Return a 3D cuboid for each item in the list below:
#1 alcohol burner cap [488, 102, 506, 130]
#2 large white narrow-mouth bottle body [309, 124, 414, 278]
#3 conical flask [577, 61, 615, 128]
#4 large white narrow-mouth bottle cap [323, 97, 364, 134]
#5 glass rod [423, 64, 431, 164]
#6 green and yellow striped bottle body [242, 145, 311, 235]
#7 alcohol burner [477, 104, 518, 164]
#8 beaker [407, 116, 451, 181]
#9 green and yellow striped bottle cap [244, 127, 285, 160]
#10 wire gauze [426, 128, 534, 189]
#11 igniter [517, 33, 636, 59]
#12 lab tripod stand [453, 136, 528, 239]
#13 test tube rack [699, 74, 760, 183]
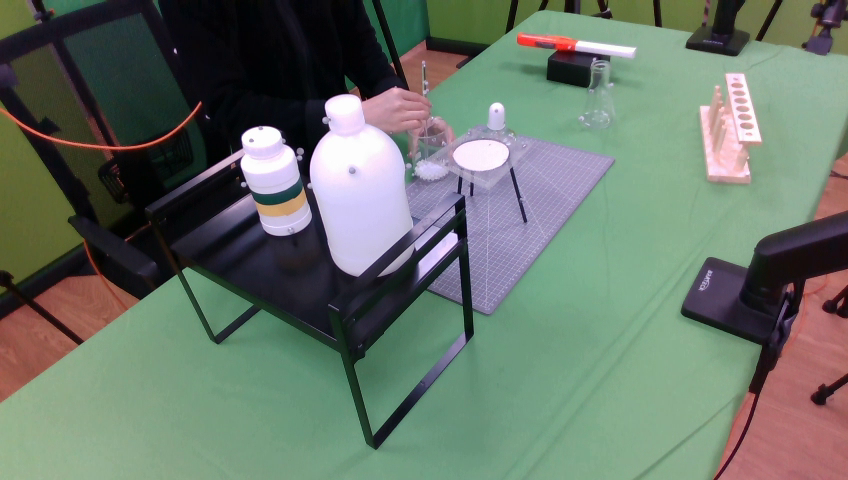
[{"bbox_3d":[0.133,-0.227,1.092,0.034,0.048,0.033,-1,47,2],"label":"alcohol burner cap"},{"bbox_3d":[-0.068,-0.057,0.644,0.102,0.195,0.101,-4,42,4],"label":"large white narrow-mouth bottle body"},{"bbox_3d":[0.343,-0.288,1.188,0.075,0.122,0.075,-4,41,4],"label":"conical flask"},{"bbox_3d":[-0.077,-0.121,0.585,0.038,0.024,0.037,-3,42,4],"label":"large white narrow-mouth bottle cap"},{"bbox_3d":[0.006,-0.218,1.073,0.008,0.200,0.008,-2,41,2],"label":"glass rod"},{"bbox_3d":[-0.179,-0.069,0.730,0.063,0.120,0.063,-4,41,4],"label":"green and yellow striped bottle body"},{"bbox_3d":[0.135,-0.200,1.117,0.078,0.119,0.077,-4,43,4],"label":"alcohol burner"},{"bbox_3d":[0.013,-0.167,1.107,0.073,0.100,0.084,14,44,22],"label":"beaker"},{"bbox_3d":[-0.183,-0.111,0.694,0.045,0.020,0.045,-1,42,1],"label":"green and yellow striped bottle cap"},{"bbox_3d":[0.086,-0.131,0.924,0.124,0.011,0.122,26,52,33],"label":"wire gauze"},{"bbox_3d":[0.336,-0.441,1.369,0.275,0.025,0.057,16,41,23],"label":"igniter"},{"bbox_3d":[0.094,-0.086,0.974,0.148,0.132,0.147,-4,43,4],"label":"lab tripod stand"},{"bbox_3d":[0.547,-0.208,1.095,0.066,0.085,0.242,6,42,16],"label":"test tube rack"}]
